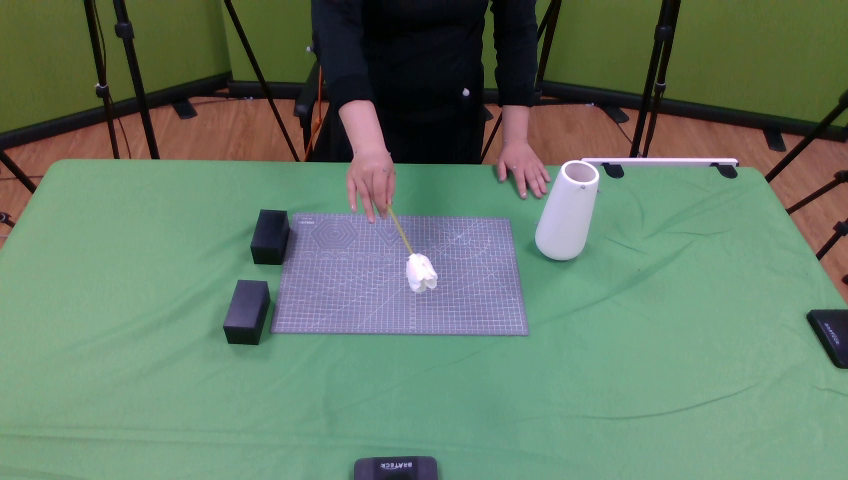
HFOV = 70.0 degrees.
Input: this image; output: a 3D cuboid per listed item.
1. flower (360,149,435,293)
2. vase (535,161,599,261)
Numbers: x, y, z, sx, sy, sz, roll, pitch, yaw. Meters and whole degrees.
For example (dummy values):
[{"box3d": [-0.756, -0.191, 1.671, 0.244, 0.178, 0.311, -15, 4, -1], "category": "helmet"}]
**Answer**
[{"box3d": [-0.057, -0.049, 0.999, 0.038, 0.044, 0.359, 29, 24, -41], "category": "flower"}, {"box3d": [0.270, -0.051, 1.145, 0.098, 0.201, 0.097, 1, 46, -1], "category": "vase"}]
